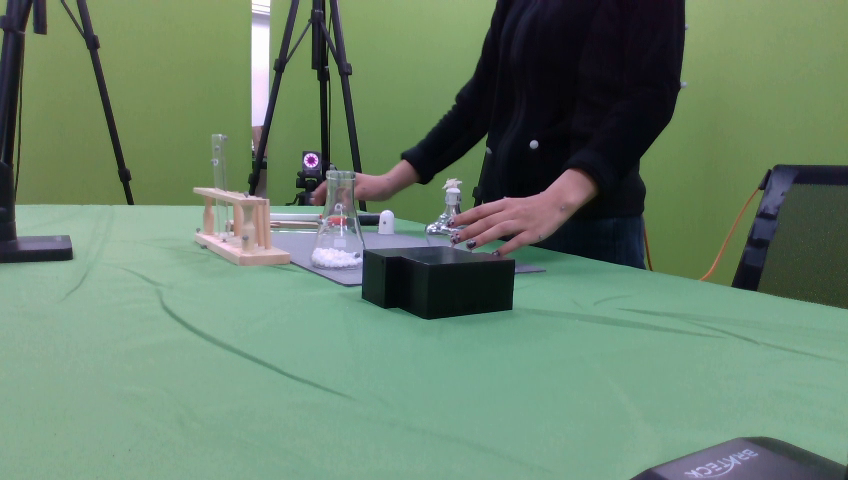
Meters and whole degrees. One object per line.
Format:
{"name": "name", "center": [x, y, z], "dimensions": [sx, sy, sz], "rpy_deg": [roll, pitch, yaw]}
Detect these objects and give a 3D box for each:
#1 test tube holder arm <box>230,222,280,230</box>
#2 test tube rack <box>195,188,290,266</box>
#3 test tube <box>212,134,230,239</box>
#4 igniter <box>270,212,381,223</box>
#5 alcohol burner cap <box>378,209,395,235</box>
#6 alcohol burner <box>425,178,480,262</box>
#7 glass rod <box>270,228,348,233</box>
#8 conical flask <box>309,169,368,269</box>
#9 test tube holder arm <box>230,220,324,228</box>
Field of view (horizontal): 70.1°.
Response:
{"name": "test tube holder arm", "center": [-0.312, -0.025, 1.118], "dimensions": [0.088, 0.015, 0.010], "rpy_deg": [-1, 43, -30]}
{"name": "test tube rack", "center": [-0.266, -0.025, 0.864], "dimensions": [0.067, 0.085, 0.241], "rpy_deg": [-2, 9, -33]}
{"name": "test tube", "center": [-0.290, -0.076, 0.863], "dimensions": [0.017, 0.150, 0.017], "rpy_deg": [-2, 6, 0]}
{"name": "igniter", "center": [-0.213, -0.047, 1.278], "dimensions": [0.278, 0.025, 0.057], "rpy_deg": [-1, -2, -25]}
{"name": "alcohol burner cap", "center": [-0.070, -0.035, 1.144], "dimensions": [0.034, 0.048, 0.034], "rpy_deg": [1, 8, 0]}
{"name": "alcohol burner", "center": [0.040, -0.028, 0.853], "dimensions": [0.078, 0.119, 0.078], "rpy_deg": [2, 9, 0]}
{"name": "glass rod", "center": [-0.234, -0.017, 1.105], "dimensions": [0.201, 0.008, 0.008], "rpy_deg": [1, 7, -26]}
{"name": "conical flask", "center": [-0.106, -0.028, 0.762], "dimensions": [0.075, 0.122, 0.075], "rpy_deg": [2, 7, 0]}
{"name": "test tube holder arm", "center": [-0.275, -0.030, 1.144], "dimensions": [0.179, 0.015, 0.013], "rpy_deg": [-2, 43, -31]}
